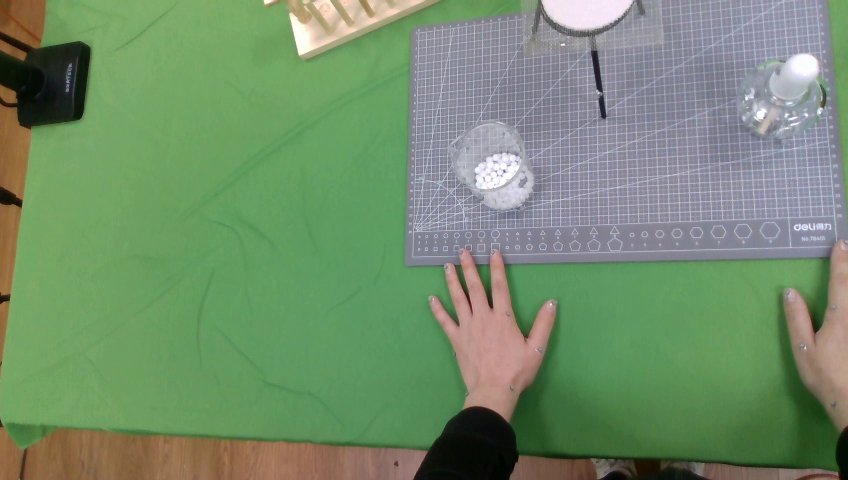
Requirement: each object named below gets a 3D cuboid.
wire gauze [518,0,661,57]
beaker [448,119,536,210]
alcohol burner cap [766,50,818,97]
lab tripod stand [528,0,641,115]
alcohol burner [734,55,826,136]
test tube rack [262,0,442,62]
[{"bbox_3d":[0.149,-0.230,0.556,0.125,0.011,0.121,-3,82,17],"label":"wire gauze"},{"bbox_3d":[0.075,-0.075,0.643,0.083,0.101,0.074,19,86,21],"label":"beaker"},{"bbox_3d":[0.324,-0.148,0.530,0.034,0.048,0.034,-2,83,14],"label":"alcohol burner cap"},{"bbox_3d":[0.168,-0.218,0.619,0.148,0.132,0.148,-2,81,15],"label":"lab tripod stand"},{"bbox_3d":[0.335,-0.142,0.564,0.077,0.120,0.077,-3,80,16],"label":"alcohol burner"},{"bbox_3d":[-0.070,-0.310,0.738,0.242,0.086,0.066,-19,75,13],"label":"test tube rack"}]
